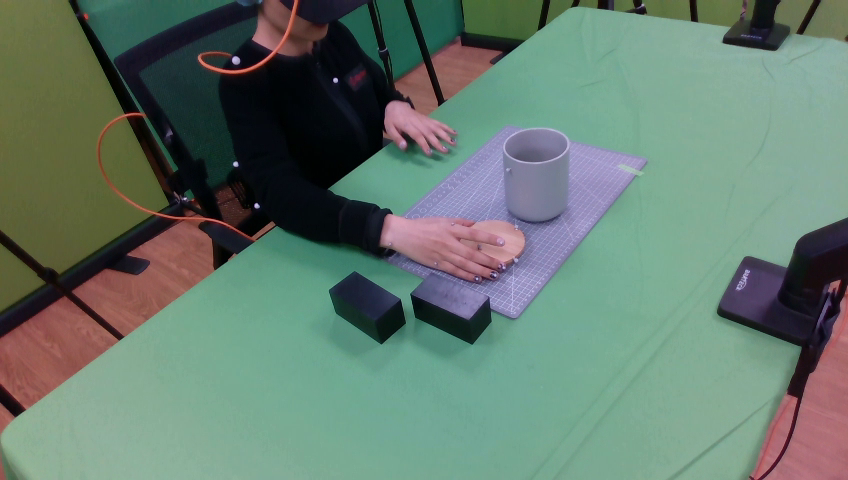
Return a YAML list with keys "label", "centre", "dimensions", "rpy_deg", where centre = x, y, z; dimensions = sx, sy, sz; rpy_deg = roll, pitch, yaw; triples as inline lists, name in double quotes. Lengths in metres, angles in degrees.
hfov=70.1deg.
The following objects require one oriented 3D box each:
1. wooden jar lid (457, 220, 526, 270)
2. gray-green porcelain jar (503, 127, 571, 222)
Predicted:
- label: "wooden jar lid"
  centre: [0.106, 0.009, 0.950]
  dimensions: [0.108, 0.021, 0.108]
  rpy_deg: [-4, 40, 4]
- label: "gray-green porcelain jar"
  centre: [0.184, -0.102, 0.983]
  dimensions: [0.106, 0.127, 0.105]
  rpy_deg: [-5, 40, 5]
